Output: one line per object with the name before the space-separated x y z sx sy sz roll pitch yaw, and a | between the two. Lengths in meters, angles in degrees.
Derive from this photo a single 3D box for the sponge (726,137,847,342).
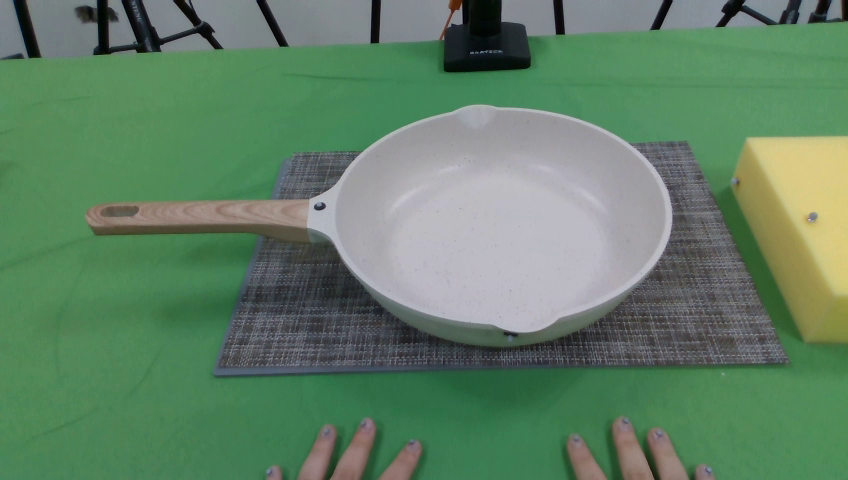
sponge | 0.363 -0.009 0.529 0.118 0.061 0.205 -1 43 4

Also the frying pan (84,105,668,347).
frying pan | -0.042 -0.020 0.539 0.489 0.103 0.303 1 42 -6
